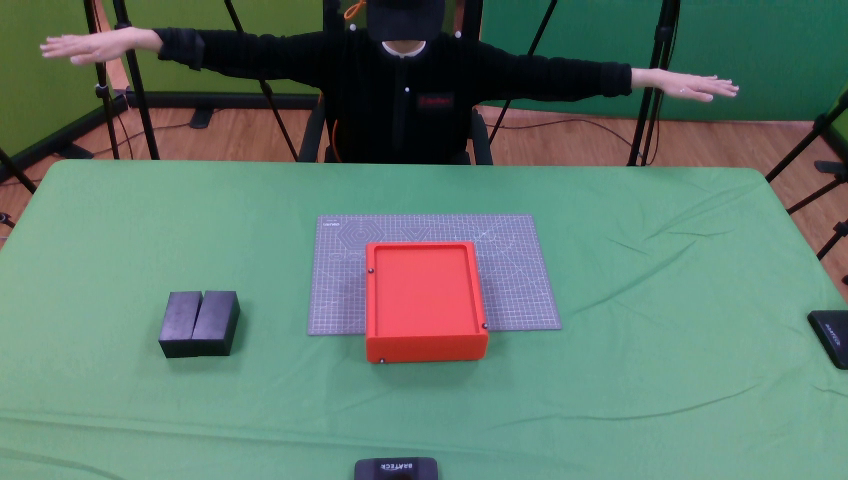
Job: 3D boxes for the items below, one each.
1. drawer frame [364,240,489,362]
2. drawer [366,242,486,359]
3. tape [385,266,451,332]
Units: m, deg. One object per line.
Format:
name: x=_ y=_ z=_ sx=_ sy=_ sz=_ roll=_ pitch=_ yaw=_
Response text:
drawer frame: x=-0.002 y=0.101 z=1.054 sx=0.202 sy=0.083 sz=0.212 roll=-1 pitch=47 yaw=-5
drawer: x=-0.002 y=0.101 z=1.056 sx=0.195 sy=0.073 sz=0.210 roll=0 pitch=47 yaw=-5
tape: x=-0.010 y=0.103 z=1.062 sx=0.117 sy=0.053 sz=0.116 roll=2 pitch=46 yaw=-2
